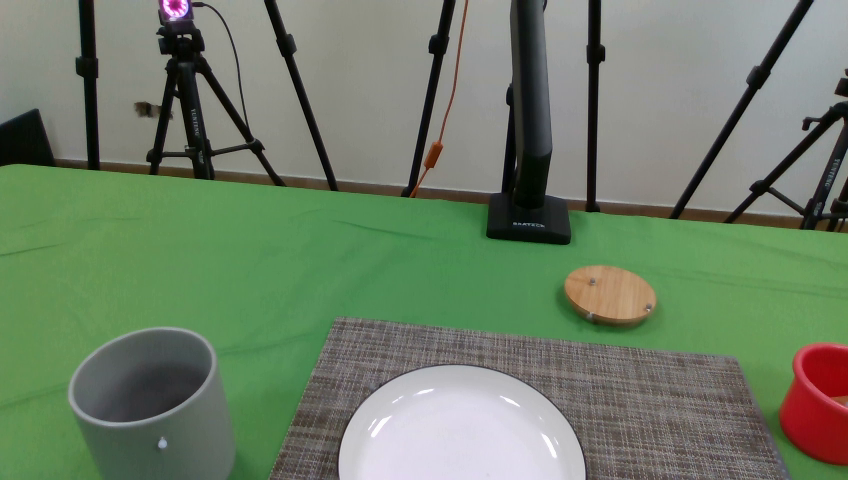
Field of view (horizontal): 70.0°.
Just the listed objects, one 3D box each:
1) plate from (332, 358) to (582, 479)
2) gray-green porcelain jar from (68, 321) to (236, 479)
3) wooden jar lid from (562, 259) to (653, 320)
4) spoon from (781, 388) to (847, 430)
[{"bbox_3d":[0.027,0.187,0.519,0.208,0.039,0.205,2,34,-1],"label":"plate"},{"bbox_3d":[-0.213,0.147,0.493,0.106,0.127,0.105,2,34,-1],"label":"gray-green porcelain jar"},{"bbox_3d":[0.223,0.061,0.742,0.108,0.021,0.107,2,35,-1],"label":"wooden jar lid"},{"bbox_3d":[0.422,0.127,0.542,0.194,0.022,0.041,-35,21,28],"label":"spoon"}]
